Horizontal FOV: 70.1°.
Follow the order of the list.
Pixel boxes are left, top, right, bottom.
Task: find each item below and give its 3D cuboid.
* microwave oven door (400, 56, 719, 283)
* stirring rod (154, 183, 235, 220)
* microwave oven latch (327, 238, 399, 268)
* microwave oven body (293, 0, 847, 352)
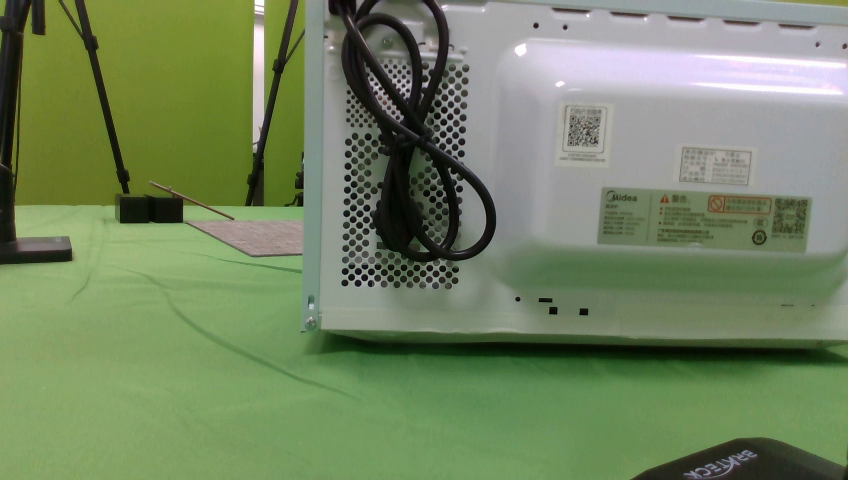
[{"bbox_3d":[0.155,-0.077,0.697,0.356,0.243,0.039,2,8,-5],"label":"microwave oven door"},{"bbox_3d":[-0.472,-0.079,1.252,0.177,0.006,0.014,27,4,-35],"label":"stirring rod"},{"bbox_3d":[-0.069,0.015,0.694,0.079,0.029,0.030,3,7,-3],"label":"microwave oven latch"},{"bbox_3d":[0.122,-0.055,0.550,0.442,0.260,0.325,3,7,-5],"label":"microwave oven body"}]
